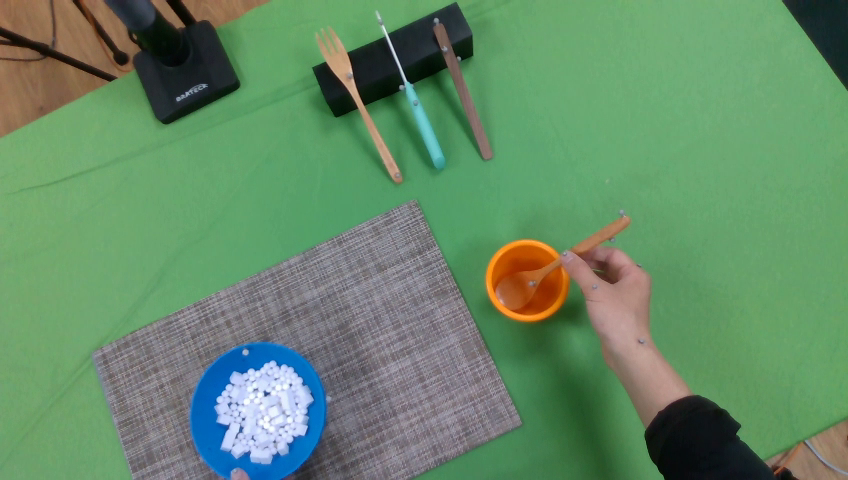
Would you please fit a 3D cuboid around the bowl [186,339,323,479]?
[{"bbox_3d":[-0.181,0.192,0.689,0.151,0.077,0.150,-1,78,5],"label":"bowl"}]

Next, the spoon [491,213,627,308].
[{"bbox_3d":[0.143,0.025,0.664,0.022,0.194,0.041,-11,69,-44],"label":"spoon"}]

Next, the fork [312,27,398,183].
[{"bbox_3d":[-0.083,-0.165,0.755,0.028,0.018,0.208,-28,97,-4],"label":"fork"}]

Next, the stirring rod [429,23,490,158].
[{"bbox_3d":[0.045,-0.186,0.758,0.014,0.006,0.176,-23,97,-3],"label":"stirring rod"}]

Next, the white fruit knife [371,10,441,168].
[{"bbox_3d":[-0.024,-0.187,0.753,0.016,0.027,0.207,-24,94,-3],"label":"white fruit knife"}]
